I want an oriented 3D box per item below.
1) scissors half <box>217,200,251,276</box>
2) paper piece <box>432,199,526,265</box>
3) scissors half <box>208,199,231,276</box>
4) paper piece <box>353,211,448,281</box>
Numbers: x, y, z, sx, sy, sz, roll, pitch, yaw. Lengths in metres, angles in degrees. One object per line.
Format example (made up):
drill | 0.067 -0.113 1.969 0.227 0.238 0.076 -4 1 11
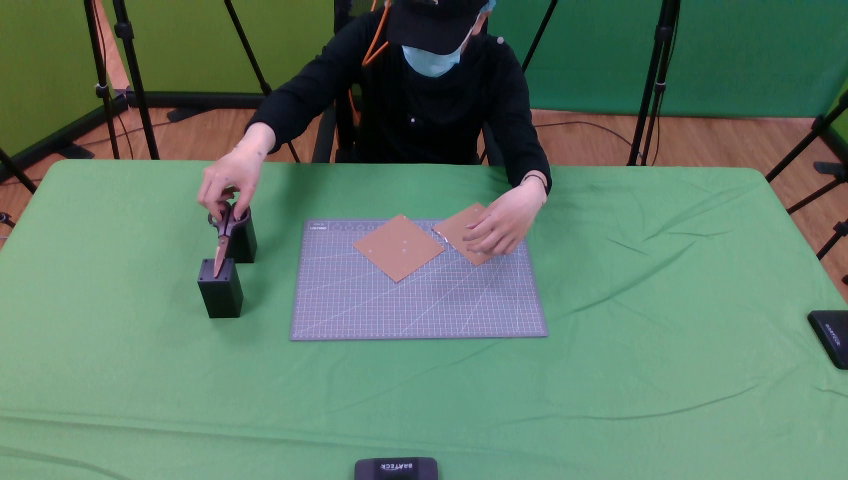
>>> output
scissors half | -0.333 -0.006 1.047 0.040 0.013 0.174 6 48 -1
paper piece | 0.111 -0.020 1.227 0.138 0.009 0.135 -30 58 -29
scissors half | -0.352 -0.007 1.043 0.040 0.013 0.174 -2 48 -16
paper piece | -0.047 0.008 1.188 0.135 0.004 0.134 -33 57 -30
